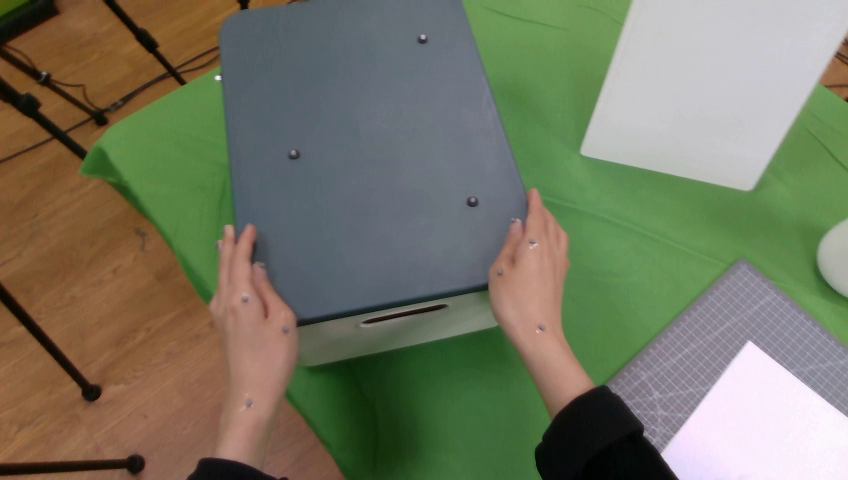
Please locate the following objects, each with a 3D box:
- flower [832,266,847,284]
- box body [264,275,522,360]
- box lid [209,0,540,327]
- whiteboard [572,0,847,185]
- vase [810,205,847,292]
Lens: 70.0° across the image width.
[{"bbox_3d":[0.501,-0.072,0.556,0.043,0.364,0.038,40,51,21],"label":"flower"},{"bbox_3d":[-0.062,-0.074,0.649,0.254,0.161,0.360,-12,64,-7],"label":"box body"},{"bbox_3d":[-0.061,-0.110,0.584,0.264,0.015,0.368,-11,64,-8],"label":"box lid"},{"bbox_3d":[0.324,-0.246,0.706,0.217,0.308,0.143,13,44,6],"label":"whiteboard"},{"bbox_3d":[0.494,-0.021,0.623,0.098,0.201,0.097,1,61,-1],"label":"vase"}]
